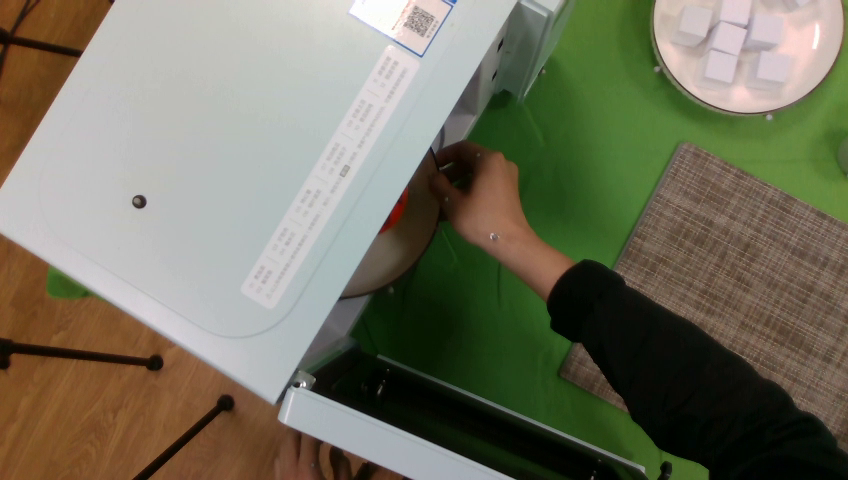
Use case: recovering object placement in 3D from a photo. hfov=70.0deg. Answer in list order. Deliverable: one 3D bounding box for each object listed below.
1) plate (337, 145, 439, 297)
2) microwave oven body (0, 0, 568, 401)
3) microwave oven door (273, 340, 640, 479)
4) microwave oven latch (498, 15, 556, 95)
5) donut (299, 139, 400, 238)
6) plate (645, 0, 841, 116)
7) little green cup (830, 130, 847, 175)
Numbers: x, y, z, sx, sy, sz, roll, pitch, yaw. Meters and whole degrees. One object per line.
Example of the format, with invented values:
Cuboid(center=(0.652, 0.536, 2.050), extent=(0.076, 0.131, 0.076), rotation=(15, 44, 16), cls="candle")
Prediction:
Cuboid(center=(-0.089, -0.047, 0.606), extent=(0.209, 0.038, 0.208), rotation=(0, 86, 0), cls="plate")
Cuboid(center=(-0.110, -0.130, 0.577), extent=(0.326, 0.260, 0.441), rotation=(31, 90, 3), cls="microwave oven body")
Cuboid(center=(0.061, 0.190, 0.554), extent=(0.355, 0.244, 0.039), rotation=(22, 88, 3), cls="microwave oven door")
Cuboid(center=(0.113, -0.202, 0.667), extent=(0.030, 0.029, 0.079), rotation=(34, 90, 3), cls="microwave oven latch")
Cuboid(center=(-0.073, -0.050, 0.597), extent=(0.099, 0.048, 0.099), rotation=(0, 84, -3), cls="donut")
Cuboid(center=(0.350, -0.238, 0.678), extent=(0.207, 0.039, 0.207), rotation=(0, 88, 2), cls="plate")
Cuboid(center=(0.484, -0.099, 0.667), extent=(0.061, 0.038, 0.061), rotation=(0, 87, 3), cls="little green cup")
